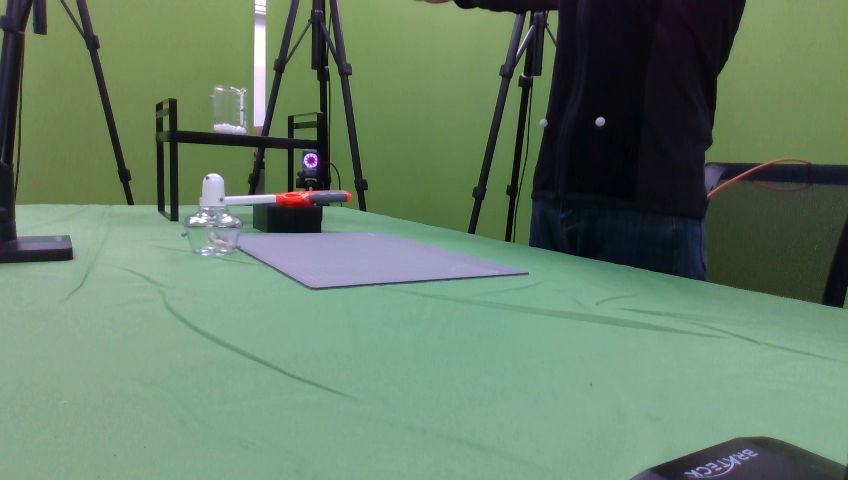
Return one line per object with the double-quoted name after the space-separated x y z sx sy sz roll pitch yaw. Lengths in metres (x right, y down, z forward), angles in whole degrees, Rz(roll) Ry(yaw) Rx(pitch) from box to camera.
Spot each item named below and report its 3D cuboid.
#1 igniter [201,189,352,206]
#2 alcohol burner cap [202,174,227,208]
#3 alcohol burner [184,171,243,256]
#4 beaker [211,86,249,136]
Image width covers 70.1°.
-0.271 -0.078 1.139 0.278 0.025 0.057 -5 11 -27 "igniter"
-0.293 -0.068 0.847 0.034 0.048 0.034 0 6 0 "alcohol burner cap"
-0.296 -0.038 0.851 0.078 0.119 0.078 2 5 0 "alcohol burner"
-0.413 -0.274 1.297 0.074 0.100 0.083 -5 11 -44 "beaker"
